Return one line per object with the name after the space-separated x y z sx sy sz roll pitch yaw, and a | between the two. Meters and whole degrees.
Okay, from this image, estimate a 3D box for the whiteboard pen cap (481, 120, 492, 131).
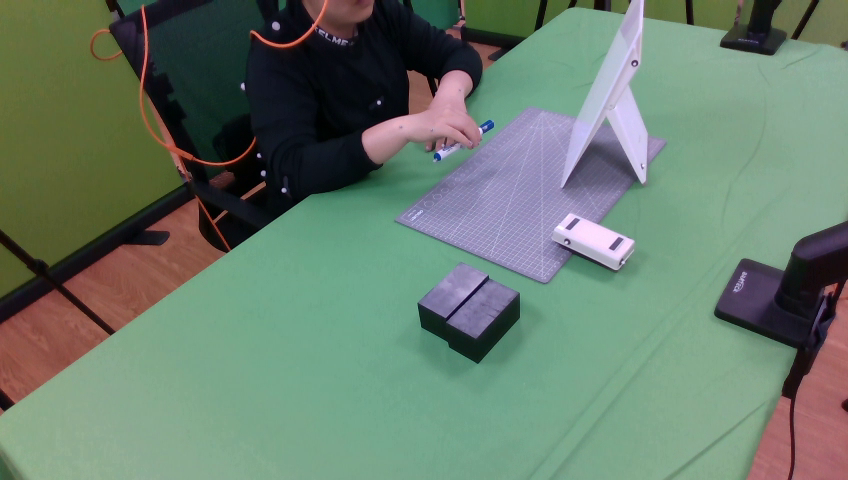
0.116 -0.211 1.112 0.018 0.018 0.033 2 18 11 | whiteboard pen cap

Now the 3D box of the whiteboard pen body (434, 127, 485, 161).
0.072 -0.177 1.082 0.141 0.017 0.017 -34 47 -29 | whiteboard pen body

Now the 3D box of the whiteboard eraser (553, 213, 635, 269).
0.258 0.003 0.918 0.112 0.042 0.056 27 49 30 | whiteboard eraser

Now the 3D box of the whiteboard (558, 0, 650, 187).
0.362 -0.238 1.026 0.144 0.306 0.217 21 44 3 | whiteboard
